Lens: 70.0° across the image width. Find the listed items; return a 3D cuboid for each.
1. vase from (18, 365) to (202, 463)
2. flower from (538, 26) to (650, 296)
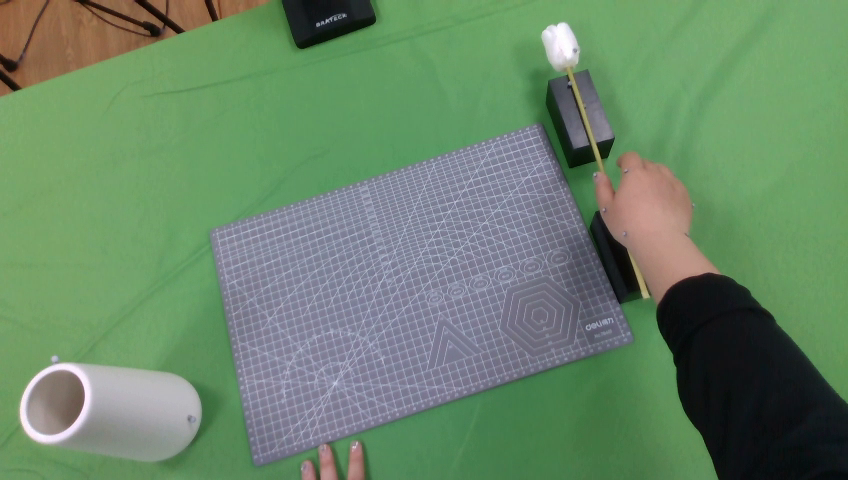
[{"bbox_3d":[-0.309,0.176,0.618,0.098,0.201,0.097,-2,69,5],"label":"vase"},{"bbox_3d":[0.198,-0.103,0.703,0.044,0.038,0.358,0,64,-26],"label":"flower"}]
